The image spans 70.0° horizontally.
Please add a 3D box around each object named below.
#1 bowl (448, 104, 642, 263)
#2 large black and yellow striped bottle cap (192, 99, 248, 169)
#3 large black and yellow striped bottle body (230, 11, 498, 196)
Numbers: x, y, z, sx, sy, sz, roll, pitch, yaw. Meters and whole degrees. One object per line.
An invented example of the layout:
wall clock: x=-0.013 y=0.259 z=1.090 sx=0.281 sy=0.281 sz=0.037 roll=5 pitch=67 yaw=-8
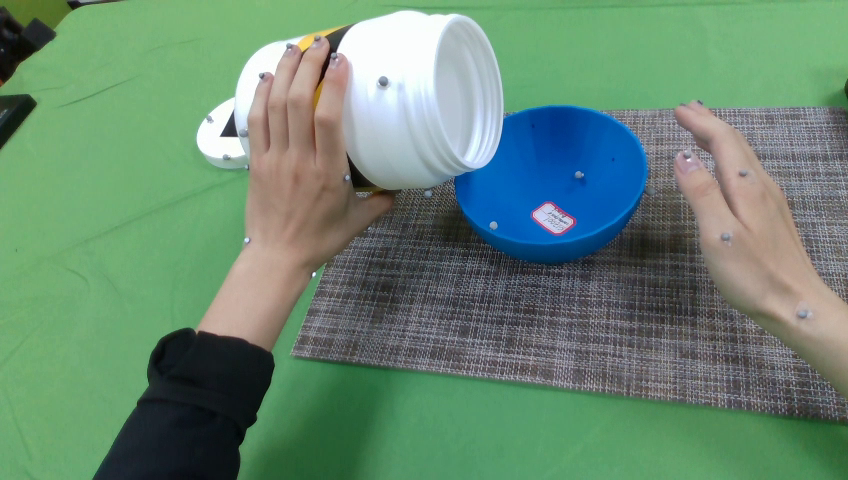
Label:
bowl: x=0.101 y=-0.034 z=0.505 sx=0.151 sy=0.077 sz=0.150 roll=-7 pitch=52 yaw=10
large black and yellow striped bottle cap: x=-0.215 y=-0.130 z=0.709 sx=0.115 sy=0.019 sz=0.114 roll=-6 pitch=52 yaw=9
large black and yellow striped bottle body: x=-0.046 y=-0.104 z=0.482 sx=0.183 sy=0.132 sz=0.130 roll=0 pitch=52 yaw=32
